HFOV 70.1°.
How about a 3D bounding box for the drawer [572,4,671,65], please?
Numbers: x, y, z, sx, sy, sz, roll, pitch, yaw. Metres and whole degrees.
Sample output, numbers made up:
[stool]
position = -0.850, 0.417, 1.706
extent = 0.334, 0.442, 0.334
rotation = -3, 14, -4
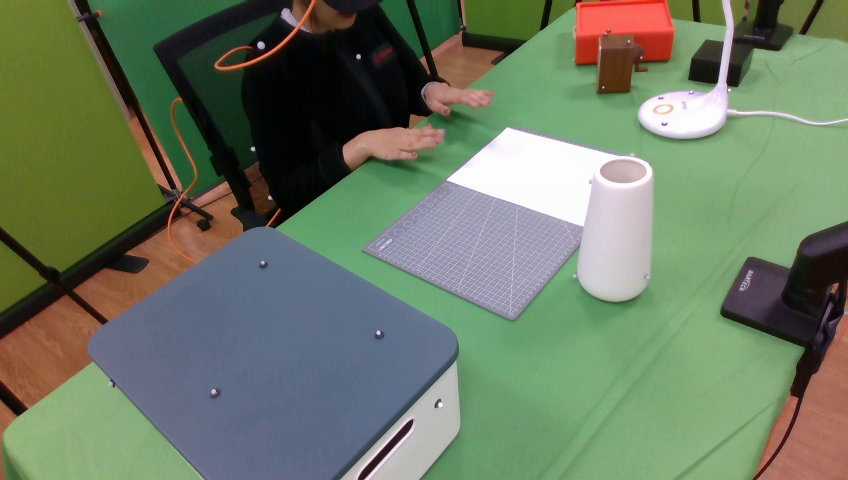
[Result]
[drawer]
position = 0.461, -0.490, 1.435
extent = 0.211, 0.073, 0.194
rotation = 2, 41, 12

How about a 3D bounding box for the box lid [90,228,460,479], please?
[box lid]
position = -0.173, 0.112, 0.662
extent = 0.368, 0.015, 0.264
rotation = 25, 50, 35

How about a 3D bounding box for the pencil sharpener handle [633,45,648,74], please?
[pencil sharpener handle]
position = 0.454, -0.378, 1.262
extent = 0.030, 0.068, 0.036
rotation = 1, 47, 13

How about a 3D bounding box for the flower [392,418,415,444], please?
[flower]
position = -0.153, 0.228, 0.743
extent = 0.360, 0.038, 0.044
rotation = -2, 44, 16

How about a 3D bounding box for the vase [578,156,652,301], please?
[vase]
position = 0.261, -0.011, 0.812
extent = 0.098, 0.201, 0.097
rotation = -4, 40, 4

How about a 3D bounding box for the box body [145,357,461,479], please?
[box body]
position = -0.162, 0.170, 0.708
extent = 0.361, 0.161, 0.255
rotation = 25, 50, 34

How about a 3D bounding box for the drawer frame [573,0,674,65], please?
[drawer frame]
position = 0.464, -0.492, 1.434
extent = 0.213, 0.083, 0.201
rotation = 1, 40, 12

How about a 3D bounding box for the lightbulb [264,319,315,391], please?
[lightbulb]
position = -0.175, 0.154, 0.806
extent = 0.060, 0.060, 0.107
rotation = -24, 58, -17

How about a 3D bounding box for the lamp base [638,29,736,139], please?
[lamp base]
position = 0.501, -0.302, 1.125
extent = 0.179, 0.181, 0.160
rotation = -4, 40, 3

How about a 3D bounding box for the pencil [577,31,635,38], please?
[pencil]
position = 0.431, -0.489, 1.443
extent = 0.012, 0.012, 0.192
rotation = -26, 30, -18

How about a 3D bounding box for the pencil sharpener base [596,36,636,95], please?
[pencil sharpener base]
position = 0.406, -0.369, 1.280
extent = 0.076, 0.107, 0.061
rotation = 1, 41, 13
